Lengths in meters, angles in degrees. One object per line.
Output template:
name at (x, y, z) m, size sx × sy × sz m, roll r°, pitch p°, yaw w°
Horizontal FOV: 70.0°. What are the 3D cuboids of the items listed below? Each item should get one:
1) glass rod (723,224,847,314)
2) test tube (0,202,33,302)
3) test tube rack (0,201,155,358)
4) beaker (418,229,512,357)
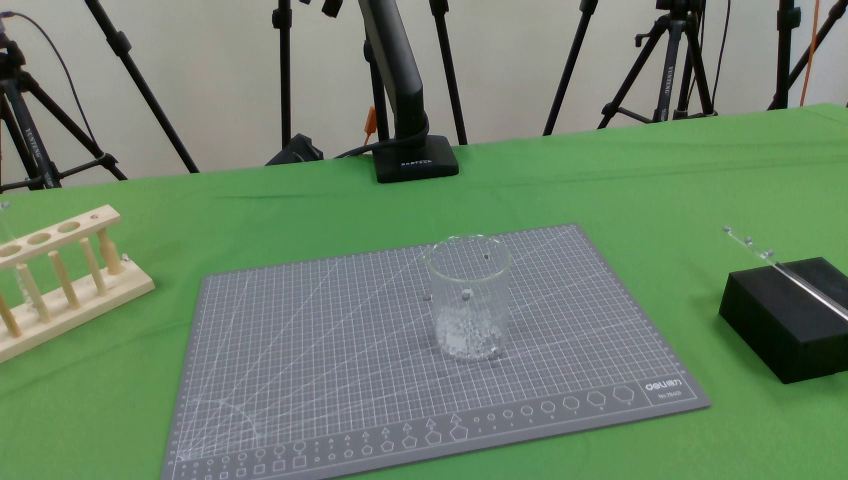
glass rod at (0.346, 0.035, 0.554) m, size 0.008 × 0.008 × 0.197 m, roll -13°, pitch 35°, yaw -14°
test tube at (-0.415, -0.004, 0.600) m, size 0.017 × 0.151 × 0.017 m, roll -4°, pitch 27°, yaw 2°
test tube rack at (-0.412, 0.053, 0.606) m, size 0.242 × 0.086 × 0.066 m, roll -30°, pitch 43°, yaw -34°
beaker at (0.038, 0.051, 0.558) m, size 0.084 × 0.101 × 0.073 m, roll 5°, pitch 35°, yaw 13°
